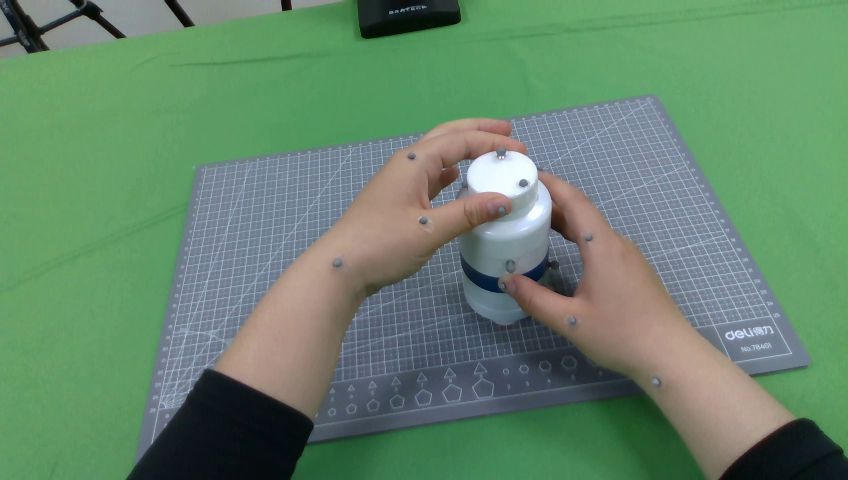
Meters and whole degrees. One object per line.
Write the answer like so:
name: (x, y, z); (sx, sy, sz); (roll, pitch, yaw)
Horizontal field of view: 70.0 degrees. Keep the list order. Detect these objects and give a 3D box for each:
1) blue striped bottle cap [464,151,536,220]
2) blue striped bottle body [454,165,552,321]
blue striped bottle cap: (0.047, -0.034, 0.373); (0.044, 0.021, 0.044); (-2, 47, 2)
blue striped bottle body: (0.054, -0.002, 0.412); (0.063, 0.122, 0.062); (-4, 50, 5)
